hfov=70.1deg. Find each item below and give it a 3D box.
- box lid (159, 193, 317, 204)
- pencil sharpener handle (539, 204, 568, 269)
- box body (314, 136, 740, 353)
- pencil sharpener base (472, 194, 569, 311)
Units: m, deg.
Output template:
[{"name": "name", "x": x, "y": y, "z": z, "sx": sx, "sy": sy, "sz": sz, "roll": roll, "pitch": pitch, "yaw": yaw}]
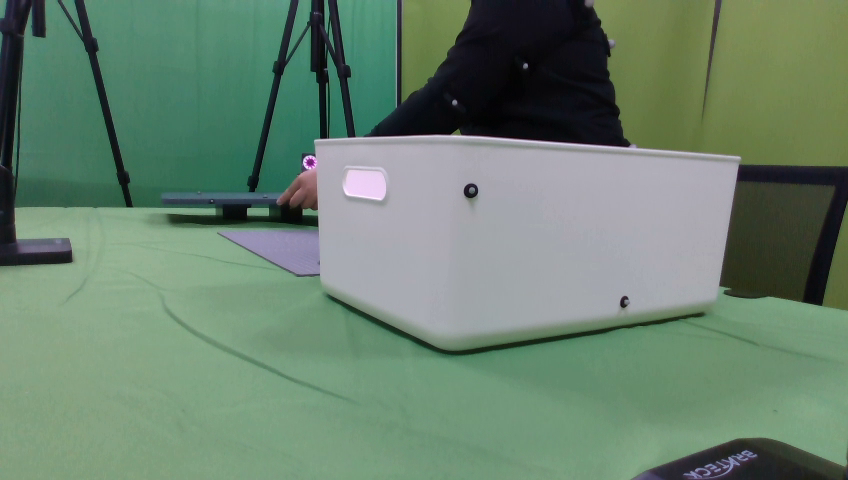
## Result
[{"name": "box lid", "x": -0.379, "y": -0.092, "z": 1.330, "sx": 0.373, "sy": 0.015, "sz": 0.262, "roll": -2, "pitch": 7, "yaw": -24}, {"name": "pencil sharpener handle", "x": 0.138, "y": -0.003, "z": 0.621, "sx": 0.031, "sy": 0.067, "sz": 0.036, "roll": -1, "pitch": 15, "yaw": -33}, {"name": "box body", "x": 0.098, "y": -0.012, "z": 0.605, "sx": 0.366, "sy": 0.160, "sz": 0.253, "roll": -2, "pitch": 8, "yaw": -33}, {"name": "pencil sharpener base", "x": 0.095, "y": 0.010, "z": 0.592, "sx": 0.077, "sy": 0.107, "sz": 0.061, "roll": -1, "pitch": 7, "yaw": -33}]
